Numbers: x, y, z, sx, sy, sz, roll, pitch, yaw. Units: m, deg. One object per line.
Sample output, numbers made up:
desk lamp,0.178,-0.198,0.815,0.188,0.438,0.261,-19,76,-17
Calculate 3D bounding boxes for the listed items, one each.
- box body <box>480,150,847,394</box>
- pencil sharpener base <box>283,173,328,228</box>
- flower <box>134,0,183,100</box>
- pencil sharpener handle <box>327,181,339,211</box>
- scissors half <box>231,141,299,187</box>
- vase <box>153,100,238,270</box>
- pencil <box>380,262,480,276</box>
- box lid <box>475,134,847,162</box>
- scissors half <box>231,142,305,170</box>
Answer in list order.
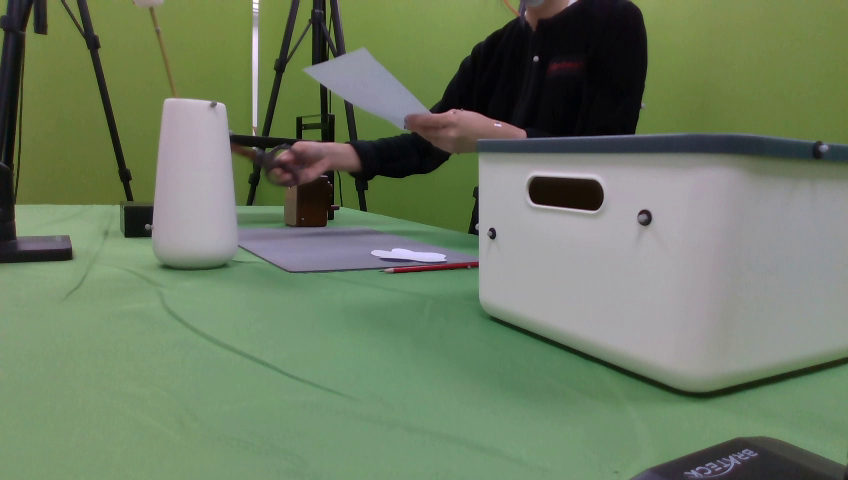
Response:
box body,0.254,0.002,0.539,0.366,0.160,0.253,-2,8,-31
pencil sharpener base,-0.239,-0.081,1.231,0.077,0.107,0.061,-2,8,-36
flower,-0.282,-0.147,0.713,0.038,0.362,0.044,-23,24,-31
pencil sharpener handle,-0.194,-0.094,1.256,0.031,0.067,0.036,-2,-5,-36
scissors half,-0.301,-0.140,1.053,0.176,0.040,0.012,30,10,-17
vase,-0.278,-0.066,0.736,0.098,0.200,0.098,2,9,0
pencil,0.030,0.037,0.795,0.195,0.012,0.012,-4,10,-30
box lid,0.256,-0.073,0.528,0.373,0.015,0.262,-2,8,-31
scissors half,-0.293,-0.158,1.049,0.176,0.040,0.013,12,9,-15
